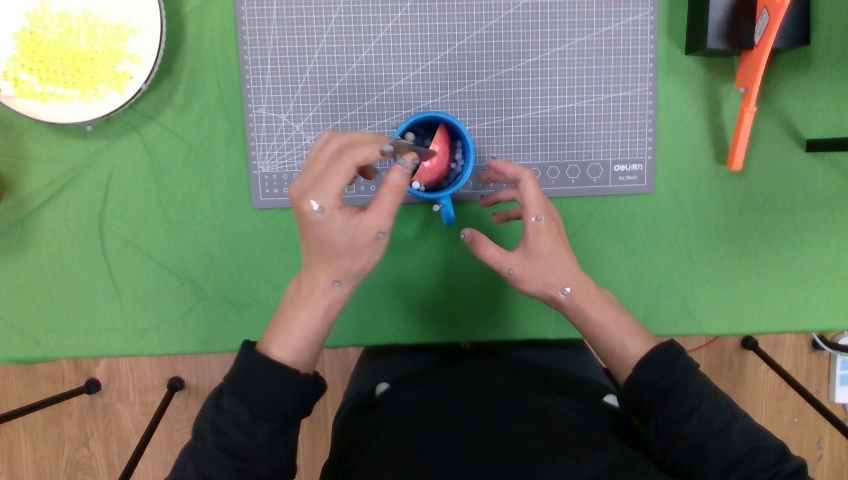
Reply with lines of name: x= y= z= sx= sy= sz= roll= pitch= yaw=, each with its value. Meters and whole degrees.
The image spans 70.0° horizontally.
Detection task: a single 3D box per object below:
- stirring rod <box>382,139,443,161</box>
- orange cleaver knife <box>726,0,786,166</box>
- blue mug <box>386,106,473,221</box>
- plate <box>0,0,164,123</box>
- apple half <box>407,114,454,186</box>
stirring rod: x=-0.005 y=-0.068 z=0.466 sx=0.014 sy=0.176 sz=0.006 roll=-36 pitch=89 yaw=12
orange cleaver knife: x=0.341 y=-0.182 z=0.634 sx=0.012 sy=0.076 sz=0.213 roll=0 pitch=125 yaw=6
blue mug: x=0.009 y=-0.075 z=0.621 sx=0.082 sy=0.105 sz=0.117 roll=-17 pitch=99 yaw=0
plate: x=-0.367 y=-0.224 z=0.614 sx=0.209 sy=0.038 sz=0.209 roll=0 pitch=99 yaw=-2
apple half: x=0.014 y=-0.086 z=0.610 sx=0.033 sy=0.081 sz=0.081 roll=25 pitch=97 yaw=4
